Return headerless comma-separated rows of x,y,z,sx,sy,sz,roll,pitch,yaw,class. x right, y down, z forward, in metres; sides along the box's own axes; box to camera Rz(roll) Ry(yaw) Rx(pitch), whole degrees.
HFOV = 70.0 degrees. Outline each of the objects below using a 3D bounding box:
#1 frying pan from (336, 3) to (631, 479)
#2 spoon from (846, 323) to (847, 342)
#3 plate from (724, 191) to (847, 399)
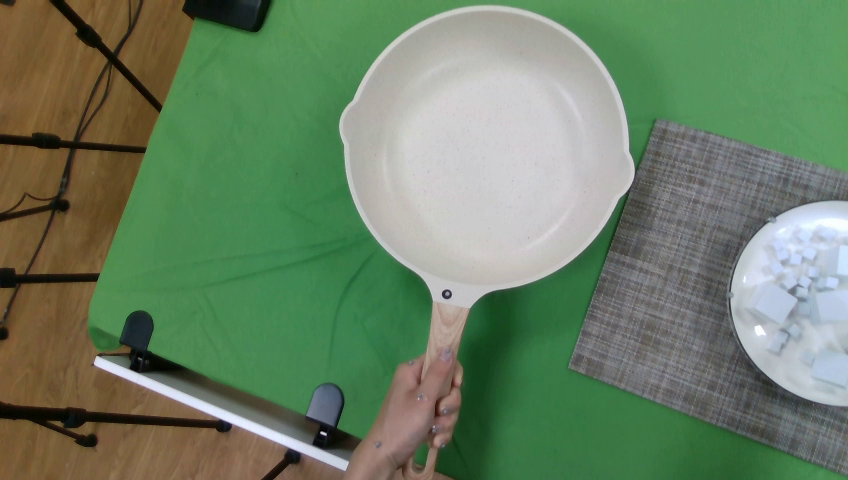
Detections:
0.038,0.003,0.636,0.306,0.103,0.486,12,82,6,frying pan
0.385,0.091,0.495,0.021,0.194,0.042,10,99,14,spoon
0.416,0.055,0.621,0.207,0.039,0.207,-1,84,11,plate
